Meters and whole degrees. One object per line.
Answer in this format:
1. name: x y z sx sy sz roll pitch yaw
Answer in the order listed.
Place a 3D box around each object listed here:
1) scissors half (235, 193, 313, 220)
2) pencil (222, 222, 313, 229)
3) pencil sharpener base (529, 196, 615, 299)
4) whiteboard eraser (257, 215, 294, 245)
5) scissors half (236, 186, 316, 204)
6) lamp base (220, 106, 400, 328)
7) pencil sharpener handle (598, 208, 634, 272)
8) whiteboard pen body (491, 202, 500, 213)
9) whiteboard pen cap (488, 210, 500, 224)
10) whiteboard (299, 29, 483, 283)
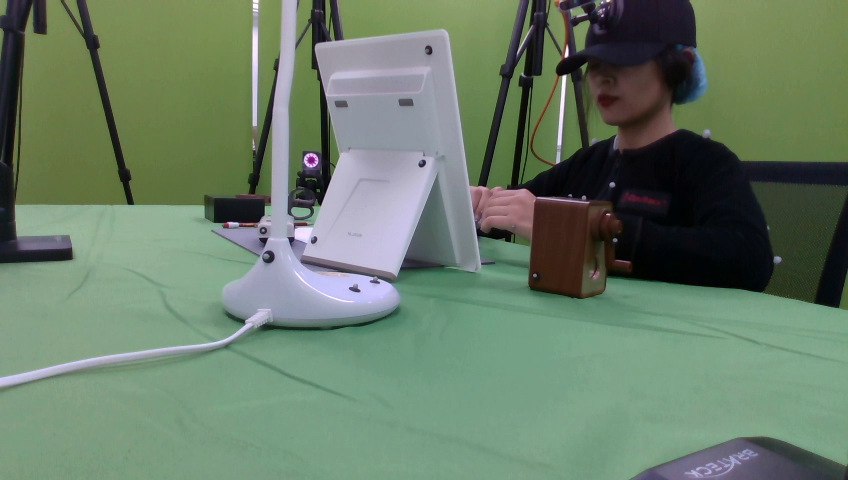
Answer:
1. scissors half: -0.324 -0.077 1.319 0.176 0.040 0.012 17 6 -32
2. pencil: -0.302 -0.030 1.189 0.195 0.012 0.012 -2 9 -42
3. pencil sharpener base: 0.168 0.007 0.678 0.076 0.107 0.062 10 10 42
4. whiteboard eraser: -0.232 -0.015 0.951 0.056 0.042 0.112 2 7 -12
5. scissors half: -0.320 -0.097 1.316 0.176 0.040 0.013 -3 11 -29
6. lamp base: -0.101 -0.023 0.531 0.160 0.180 0.179 4 10 10
7. pencil sharpener handle: 0.208 0.000 0.644 0.030 0.068 0.036 10 23 42
8. whiteboard pen body: 0.120 -0.049 1.014 0.017 0.017 0.141 3 9 6
9. whiteboard pen cap: 0.108 -0.036 0.935 0.018 0.018 0.033 4 17 11
10. whiteboard: -0.074 -0.082 0.741 0.216 0.305 0.144 9 30 38
